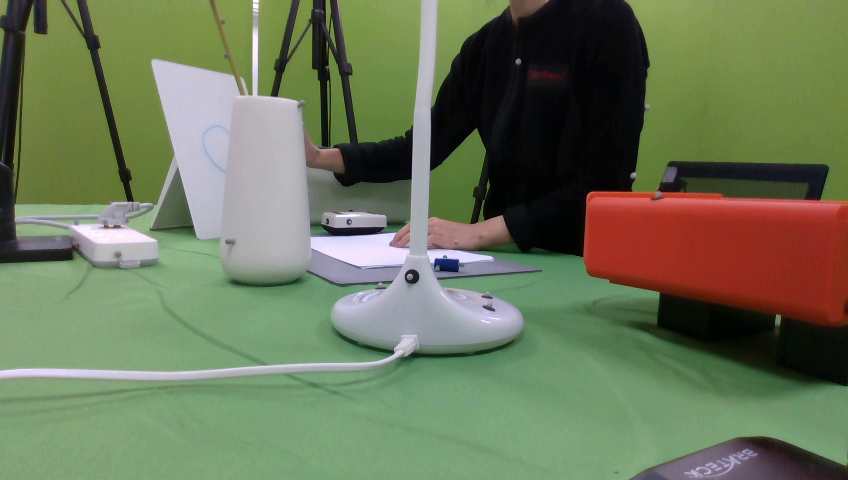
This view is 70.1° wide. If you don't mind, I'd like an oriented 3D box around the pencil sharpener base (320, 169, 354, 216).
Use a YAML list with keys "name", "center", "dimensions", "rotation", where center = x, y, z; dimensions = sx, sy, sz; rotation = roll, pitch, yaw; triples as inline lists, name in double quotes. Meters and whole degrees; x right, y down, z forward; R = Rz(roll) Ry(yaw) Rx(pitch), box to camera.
- name: "pencil sharpener base"
  center: [-0.207, -0.113, 1.439]
  dimensions: [0.077, 0.107, 0.061]
  rotation: [2, 6, -11]

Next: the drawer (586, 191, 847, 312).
- name: "drawer"
  center: [0.281, 0.001, 0.513]
  dimensions: [0.195, 0.073, 0.210]
  rotation: [-1, 8, -29]

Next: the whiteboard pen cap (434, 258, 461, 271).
- name: "whiteboard pen cap"
  center: [0.029, 0.031, 0.770]
  dimensions: [0.033, 0.018, 0.018]
  rotation: [4, 8, 8]

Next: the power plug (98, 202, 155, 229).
- name: "power plug"
  center: [-0.416, -0.027, 0.848]
  dimensions: [0.073, 0.052, 0.035]
  rotation: [0, 8, -28]

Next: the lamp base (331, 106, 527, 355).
- name: "lamp base"
  center: [0.006, -0.012, 0.478]
  dimensions: [0.161, 0.180, 0.179]
  rotation: [2, 10, 2]

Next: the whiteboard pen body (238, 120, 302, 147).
- name: "whiteboard pen body"
  center: [-0.276, -0.186, 1.070]
  dimensions: [0.140, 0.017, 0.017]
  rotation: [-14, 0, 25]

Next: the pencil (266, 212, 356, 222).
- name: "pencil"
  center: [-0.244, -0.049, 1.318]
  dimensions: [0.195, 0.012, 0.012]
  rotation: [4, 7, -12]

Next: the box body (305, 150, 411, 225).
- name: "box body"
  center: [-0.230, -0.126, 1.372]
  dimensions: [0.366, 0.160, 0.253]
  rotation: [-2, 9, -33]

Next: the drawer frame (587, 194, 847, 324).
- name: "drawer frame"
  center: [0.285, 0.004, 0.508]
  dimensions: [0.203, 0.082, 0.212]
  rotation: [-1, 6, -29]

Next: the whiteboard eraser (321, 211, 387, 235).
- name: "whiteboard eraser"
  center: [-0.128, -0.031, 1.108]
  dimensions: [0.113, 0.042, 0.055]
  rotation: [-4, 8, -38]

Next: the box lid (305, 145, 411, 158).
- name: "box lid"
  center: [-0.228, -0.200, 1.361]
  dimensions: [0.373, 0.015, 0.262]
  rotation: [-1, 8, -33]

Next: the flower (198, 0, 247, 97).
- name: "flower"
  center: [-0.187, -0.133, 0.648]
  dimensions: [0.038, 0.362, 0.044]
  rotation: [-1, 21, 43]

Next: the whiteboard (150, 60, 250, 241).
- name: "whiteboard"
  center: [-0.408, -0.139, 1.093]
  dimensions: [0.143, 0.305, 0.218]
  rotation: [-15, -1, 26]

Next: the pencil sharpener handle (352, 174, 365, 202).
- name: "pencil sharpener handle"
  center: [-0.156, -0.125, 1.450]
  dimensions: [0.031, 0.068, 0.036]
  rotation: [1, 19, -11]

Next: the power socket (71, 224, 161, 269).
- name: "power socket"
  center: [-0.408, 0.004, 0.793]
  dimensions: [0.072, 0.032, 0.225]
  rotation: [-2, 8, -38]

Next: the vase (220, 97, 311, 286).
- name: "vase"
  center: [-0.172, -0.052, 0.662]
  dimensions: [0.098, 0.200, 0.098]
  rotation: [3, 9, 0]
